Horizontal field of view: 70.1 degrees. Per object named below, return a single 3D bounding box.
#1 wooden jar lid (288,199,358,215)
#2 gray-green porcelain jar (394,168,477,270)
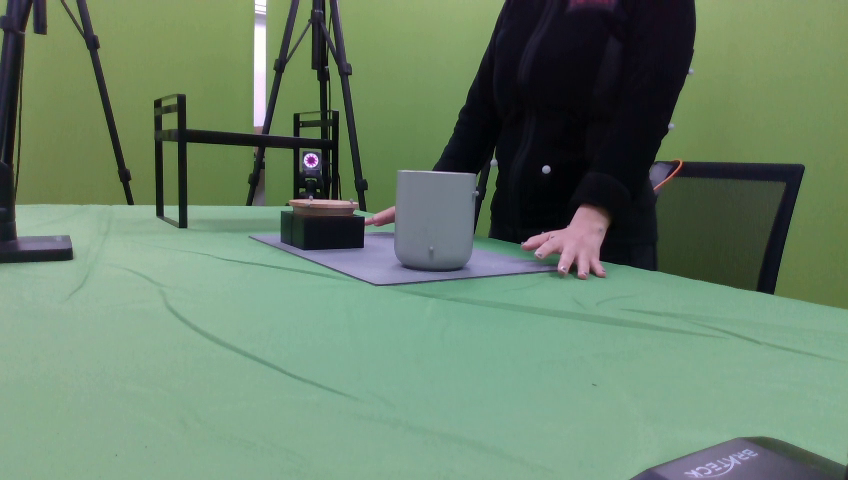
[{"bbox_3d":[-0.158,-0.053,0.950,0.108,0.020,0.108,3,8,0],"label":"wooden jar lid"},{"bbox_3d":[0.014,-0.029,0.793,0.106,0.126,0.106,2,7,0],"label":"gray-green porcelain jar"}]
